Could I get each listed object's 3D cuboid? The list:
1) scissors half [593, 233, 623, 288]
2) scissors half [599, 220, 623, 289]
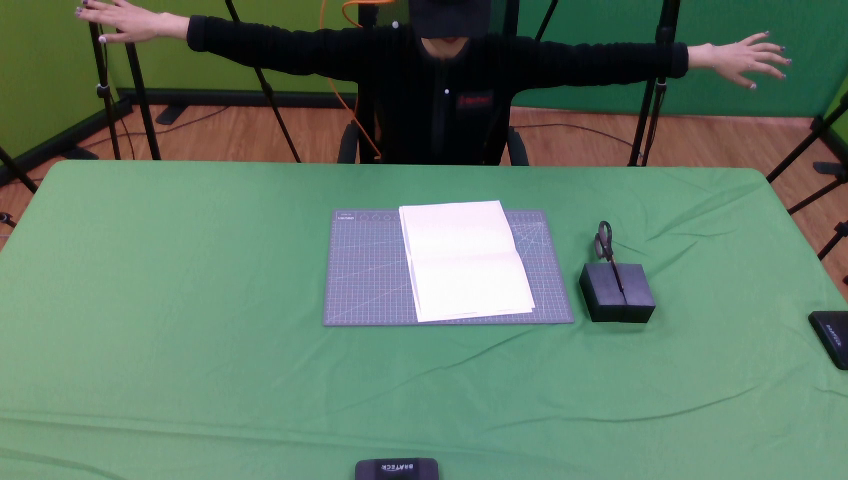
[{"bbox_3d":[0.351,0.040,1.154,0.013,0.040,0.174,9,29,-7],"label":"scissors half"},{"bbox_3d":[0.354,0.024,1.142,0.013,0.040,0.174,4,47,-4],"label":"scissors half"}]
